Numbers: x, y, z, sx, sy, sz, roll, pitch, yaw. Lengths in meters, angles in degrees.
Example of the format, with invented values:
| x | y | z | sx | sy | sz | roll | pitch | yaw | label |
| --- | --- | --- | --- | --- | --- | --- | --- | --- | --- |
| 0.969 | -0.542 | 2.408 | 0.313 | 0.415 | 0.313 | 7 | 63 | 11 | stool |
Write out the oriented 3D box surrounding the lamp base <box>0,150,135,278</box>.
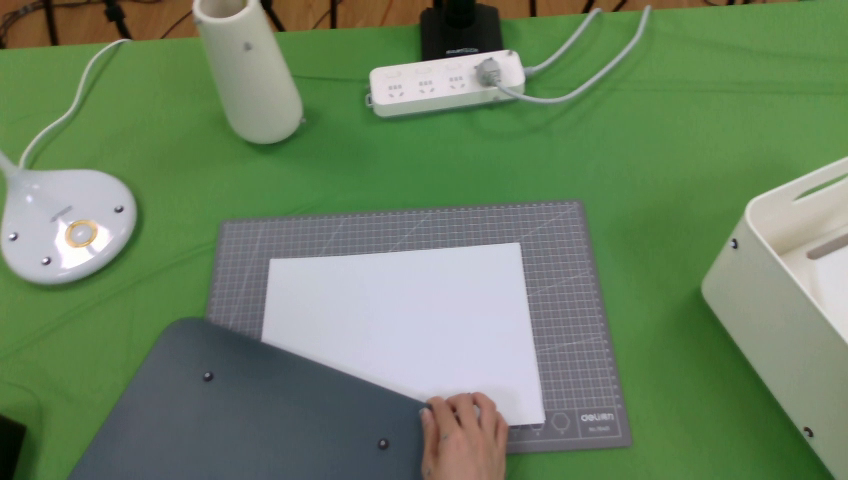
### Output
| x | y | z | sx | sy | sz | roll | pitch | yaw | label |
| --- | --- | --- | --- | --- | --- | --- | --- | --- | --- |
| -0.452 | -0.069 | 0.683 | 0.178 | 0.182 | 0.160 | 26 | 64 | 19 | lamp base |

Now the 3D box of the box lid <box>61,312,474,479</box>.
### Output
| x | y | z | sx | sy | sz | roll | pitch | yaw | label |
| --- | --- | --- | --- | --- | --- | --- | --- | --- | --- |
| -0.162 | 0.230 | 0.589 | 0.370 | 0.015 | 0.262 | 17 | 61 | 15 | box lid |

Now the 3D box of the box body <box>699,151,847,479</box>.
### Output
| x | y | z | sx | sy | sz | roll | pitch | yaw | label |
| --- | --- | --- | --- | --- | --- | --- | --- | --- | --- |
| 0.472 | 0.098 | 0.562 | 0.254 | 0.162 | 0.360 | -22 | 62 | -10 | box body |

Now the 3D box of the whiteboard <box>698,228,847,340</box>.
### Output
| x | y | z | sx | sy | sz | roll | pitch | yaw | label |
| --- | --- | --- | --- | --- | --- | --- | --- | --- | --- |
| 0.471 | 0.093 | 0.578 | 0.217 | 0.145 | 0.302 | -22 | 61 | -13 | whiteboard |

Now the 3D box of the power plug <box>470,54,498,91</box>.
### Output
| x | y | z | sx | sy | sz | roll | pitch | yaw | label |
| --- | --- | --- | --- | --- | --- | --- | --- | --- | --- |
| 0.079 | -0.215 | 0.806 | 0.035 | 0.053 | 0.072 | 1 | 66 | 3 | power plug |

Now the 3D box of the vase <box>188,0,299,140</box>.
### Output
| x | y | z | sx | sy | sz | roll | pitch | yaw | label |
| --- | --- | --- | --- | --- | --- | --- | --- | --- | --- |
| -0.221 | -0.215 | 0.747 | 0.098 | 0.202 | 0.097 | -2 | 60 | 3 | vase |

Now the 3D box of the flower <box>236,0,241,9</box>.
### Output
| x | y | z | sx | sy | sz | roll | pitch | yaw | label |
| --- | --- | --- | --- | --- | --- | --- | --- | --- | --- |
| -0.205 | -0.250 | 0.672 | 0.038 | 0.363 | 0.044 | 44 | 61 | 5 | flower |

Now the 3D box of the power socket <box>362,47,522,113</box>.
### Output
| x | y | z | sx | sy | sz | roll | pitch | yaw | label |
| --- | --- | --- | --- | --- | --- | --- | --- | --- | --- |
| 0.025 | -0.222 | 0.838 | 0.227 | 0.033 | 0.071 | -8 | 61 | -3 | power socket |
